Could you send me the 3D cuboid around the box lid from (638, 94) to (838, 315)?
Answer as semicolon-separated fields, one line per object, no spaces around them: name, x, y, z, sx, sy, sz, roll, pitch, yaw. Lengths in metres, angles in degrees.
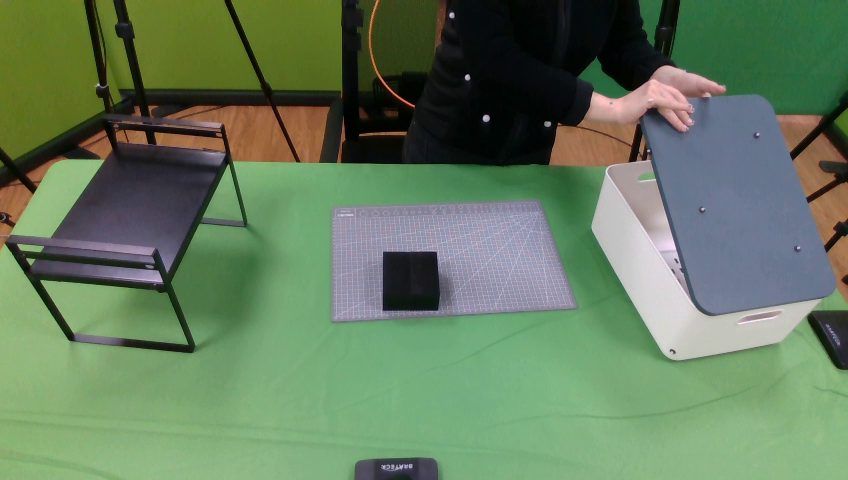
box lid;0.508;-0.072;0.988;0.264;0.015;0.370;-7;74;-13

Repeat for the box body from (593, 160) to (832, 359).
box body;0.497;0.023;1.111;0.254;0.161;0.361;-8;47;-10

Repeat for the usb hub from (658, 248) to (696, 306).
usb hub;0.482;0.069;1.150;0.049;0.025;0.124;-1;48;-8
